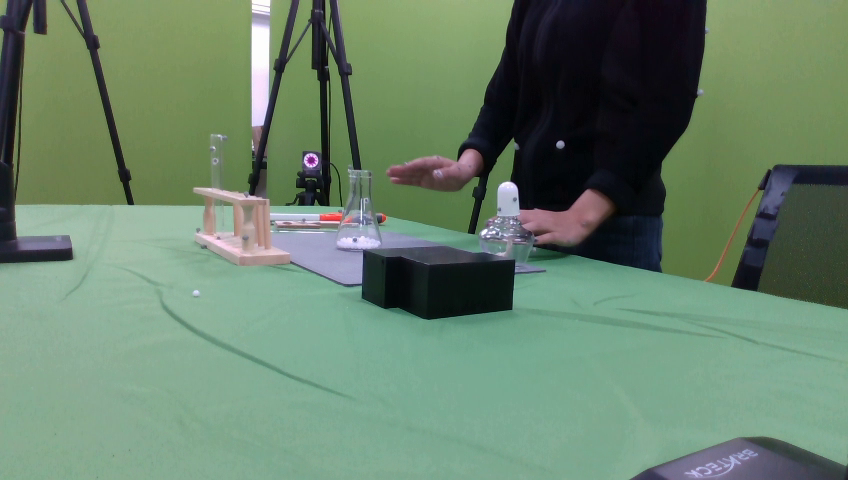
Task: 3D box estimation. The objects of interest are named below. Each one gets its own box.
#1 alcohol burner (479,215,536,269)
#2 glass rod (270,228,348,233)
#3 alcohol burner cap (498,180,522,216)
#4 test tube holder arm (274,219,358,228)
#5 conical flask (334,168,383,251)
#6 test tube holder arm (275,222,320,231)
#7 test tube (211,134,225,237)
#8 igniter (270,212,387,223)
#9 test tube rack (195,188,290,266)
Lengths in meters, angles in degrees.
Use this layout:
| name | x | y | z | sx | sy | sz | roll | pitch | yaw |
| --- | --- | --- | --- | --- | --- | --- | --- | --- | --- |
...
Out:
| name | x | y | z | sx | sy | sz | roll | pitch | yaw |
| --- | --- | --- | --- | --- | --- | --- | --- | --- | --- |
| alcohol burner | 0.114 | -0.021 | 0.816 | 0.078 | 0.119 | 0.078 | 2 | 9 | 0 |
| glass rod | -0.234 | -0.017 | 1.104 | 0.201 | 0.008 | 0.008 | 1 | 7 | -26 |
| alcohol burner cap | 0.114 | -0.056 | 0.810 | 0.034 | 0.048 | 0.034 | -5 | 12 | 1 |
| test tube holder arm | -0.206 | -0.032 | 1.176 | 0.179 | 0.015 | 0.013 | -4 | 46 | -39 |
| conical flask | -0.098 | -0.047 | 0.920 | 0.075 | 0.122 | 0.075 | 3 | 7 | 0 |
| test tube holder arm | -0.238 | -0.026 | 1.145 | 0.088 | 0.015 | 0.010 | -3 | 46 | -39 |
| test tube | -0.300 | -0.079 | 0.881 | 0.017 | 0.150 | 0.017 | 3 | 12 | 0 |
| igniter | -0.213 | -0.048 | 1.278 | 0.278 | 0.025 | 0.057 | -1 | -2 | -25 |
| test tube rack | -0.266 | -0.025 | 0.864 | 0.067 | 0.085 | 0.241 | -2 | 9 | -33 |
